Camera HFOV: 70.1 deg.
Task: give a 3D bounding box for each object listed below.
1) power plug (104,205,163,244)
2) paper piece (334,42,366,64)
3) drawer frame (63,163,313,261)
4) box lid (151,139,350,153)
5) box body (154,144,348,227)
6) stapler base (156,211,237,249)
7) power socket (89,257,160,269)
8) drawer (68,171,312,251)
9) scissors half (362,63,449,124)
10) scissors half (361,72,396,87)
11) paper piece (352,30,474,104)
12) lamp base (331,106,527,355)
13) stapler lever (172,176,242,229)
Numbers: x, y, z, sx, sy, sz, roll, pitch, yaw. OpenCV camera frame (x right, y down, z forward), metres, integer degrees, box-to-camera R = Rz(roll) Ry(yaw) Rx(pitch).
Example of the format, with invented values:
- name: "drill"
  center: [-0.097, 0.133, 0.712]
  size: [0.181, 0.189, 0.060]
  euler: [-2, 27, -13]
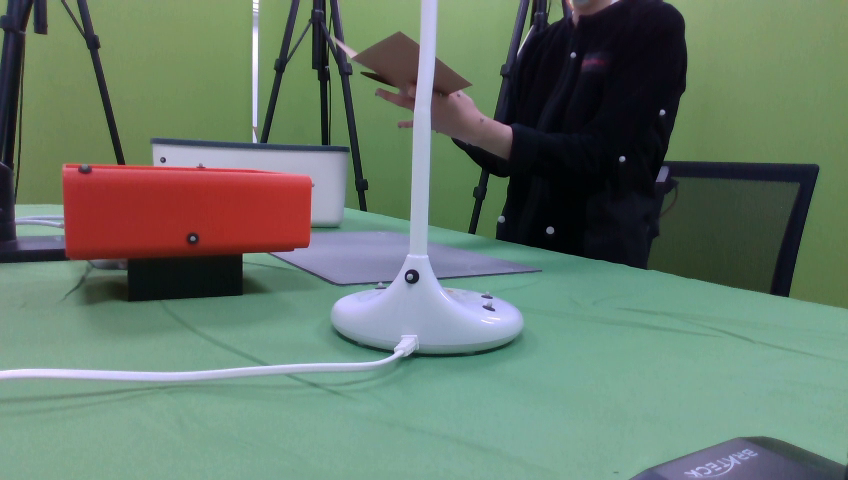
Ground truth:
- name: "power plug"
  center: [-0.390, -0.021, 0.815]
  size: [0.073, 0.052, 0.035]
  euler: [-1, 7, -27]
- name: "paper piece"
  center: [-0.080, -0.280, 0.981]
  size: [0.136, 0.004, 0.135]
  euler: [24, 15, -33]
- name: "drawer frame"
  center: [-0.248, -0.036, 0.626]
  size: [0.215, 0.082, 0.200]
  euler: [-3, 9, -31]
- name: "box lid"
  center: [-0.352, -0.191, 1.256]
  size: [0.373, 0.015, 0.262]
  euler: [0, 8, -18]
- name: "box body"
  center: [-0.357, -0.119, 1.264]
  size: [0.365, 0.160, 0.253]
  euler: [0, 7, -18]
- name: "stapler base"
  center: [-0.227, -0.017, 0.624]
  size: [0.041, 0.024, 0.130]
  euler: [18, 10, -2]
- name: "power socket"
  center: [-0.409, 0.004, 0.793]
  size: [0.072, 0.032, 0.225]
  euler: [-2, 8, -38]
- name: "drawer"
  center: [-0.247, -0.036, 0.629]
  size: [0.213, 0.073, 0.193]
  euler: [-3, 9, -30]
- name: "scissors half"
  center: [-0.027, -0.232, 0.954]
  size: [0.176, 0.040, 0.012]
  euler: [29, -9, -34]
- name: "scissors half"
  center: [-0.023, -0.254, 0.954]
  size: [0.176, 0.040, 0.013]
  euler: [-6, 6, -35]
- name: "paper piece"
  center: [-0.018, -0.246, 0.875]
  size: [0.139, 0.008, 0.135]
  euler: [28, -13, -31]
- name: "lamp base"
  center: [0.006, -0.012, 0.478]
  size: [0.161, 0.180, 0.179]
  euler: [2, 10, 2]
- name: "stapler lever"
  center: [-0.218, -0.041, 0.618]
  size: [0.027, 0.040, 0.118]
  euler: [18, 11, -2]
